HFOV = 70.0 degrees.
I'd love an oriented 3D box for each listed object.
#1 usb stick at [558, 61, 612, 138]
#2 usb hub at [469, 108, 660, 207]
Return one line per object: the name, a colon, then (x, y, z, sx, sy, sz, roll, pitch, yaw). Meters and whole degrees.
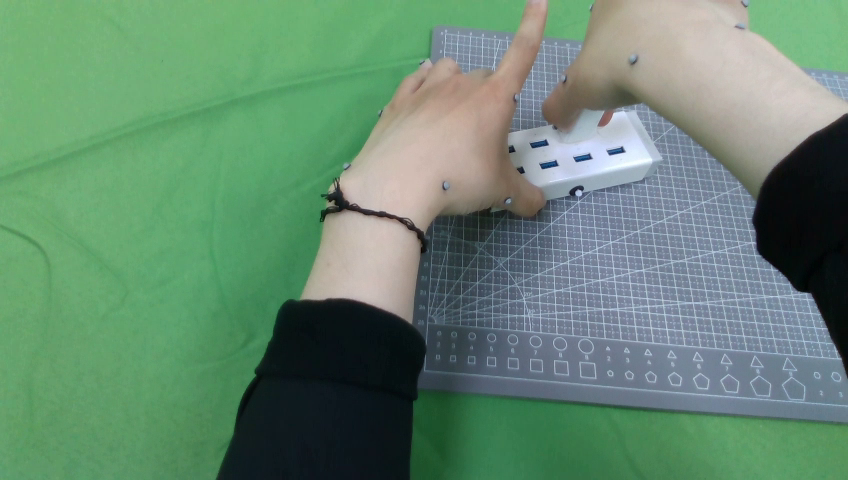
usb stick: (0.106, -0.088, 0.406, 0.021, 0.059, 0.027, -19, 60, -8)
usb hub: (0.098, -0.060, 0.424, 0.125, 0.025, 0.049, -12, 63, -13)
